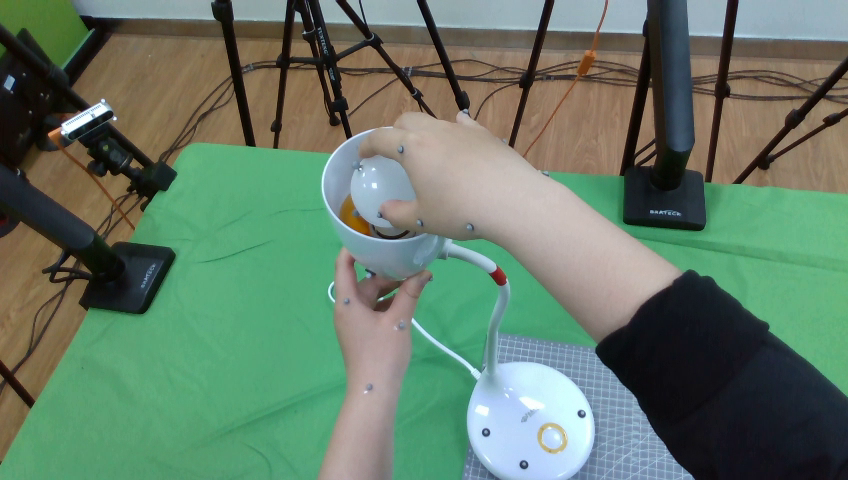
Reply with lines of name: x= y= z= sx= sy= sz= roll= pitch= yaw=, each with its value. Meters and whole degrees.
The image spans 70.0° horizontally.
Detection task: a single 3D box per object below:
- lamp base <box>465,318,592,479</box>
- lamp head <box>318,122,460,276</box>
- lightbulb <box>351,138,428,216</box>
lamp base: x=0.113 y=0.172 z=0.716 sx=0.177 sy=0.182 sz=0.160 roll=30 pitch=63 yaw=28
lamp head: x=-0.023 y=-0.021 z=0.515 sx=0.112 sy=0.124 sz=0.111 roll=-2 pitch=58 yaw=4
lightbulb: x=-0.023 y=-0.045 z=0.492 sx=0.059 sy=0.108 sz=0.059 roll=-1 pitch=81 yaw=8
